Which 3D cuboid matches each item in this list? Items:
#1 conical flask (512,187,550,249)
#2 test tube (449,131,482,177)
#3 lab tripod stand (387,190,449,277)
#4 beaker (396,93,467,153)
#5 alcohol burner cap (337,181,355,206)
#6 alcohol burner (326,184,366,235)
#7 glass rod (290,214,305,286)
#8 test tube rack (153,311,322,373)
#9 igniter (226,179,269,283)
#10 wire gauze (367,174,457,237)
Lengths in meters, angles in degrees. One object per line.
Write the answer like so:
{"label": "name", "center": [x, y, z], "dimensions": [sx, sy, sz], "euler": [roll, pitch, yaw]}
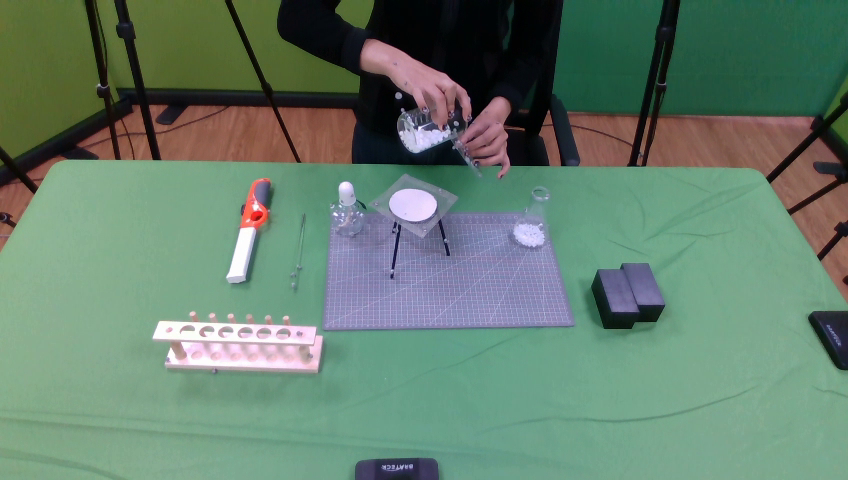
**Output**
{"label": "conical flask", "center": [0.217, -0.048, 1.190], "dimensions": [0.075, 0.122, 0.075], "euler": [2, 46, -2]}
{"label": "test tube", "center": [0.078, -0.156, 1.127], "dimensions": [0.017, 0.151, 0.017], "euler": [-10, 63, 21]}
{"label": "lab tripod stand", "center": [-0.021, -0.018, 1.135], "dimensions": [0.148, 0.132, 0.147], "euler": [3, 44, -3]}
{"label": "beaker", "center": [0.011, -0.192, 1.020], "dimensions": [0.100, 0.084, 0.073], "euler": [-26, 51, -23]}
{"label": "alcohol burner cap", "center": [-0.151, -0.090, 1.157], "dimensions": [0.034, 0.048, 0.033], "euler": [0, 52, 0]}
{"label": "alcohol burner", "center": [-0.152, -0.066, 1.184], "dimensions": [0.078, 0.119, 0.077], "euler": [4, 46, -4]}
{"label": "glass rod", "center": [-0.245, 0.015, 1.176], "dimensions": [0.008, 0.008, 0.198], "euler": [1, 43, -3]}
{"label": "test tube rack", "center": [-0.293, 0.160, 0.978], "dimensions": [0.242, 0.085, 0.066], "euler": [3, 46, -2]}
{"label": "igniter", "center": [-0.345, -0.027, 1.195], "dimensions": [0.057, 0.025, 0.274], "euler": [-6, 46, 5]}
{"label": "wire gauze", "center": [-0.021, -0.067, 1.088], "dimensions": [0.124, 0.011, 0.121], "euler": [28, 49, 21]}
